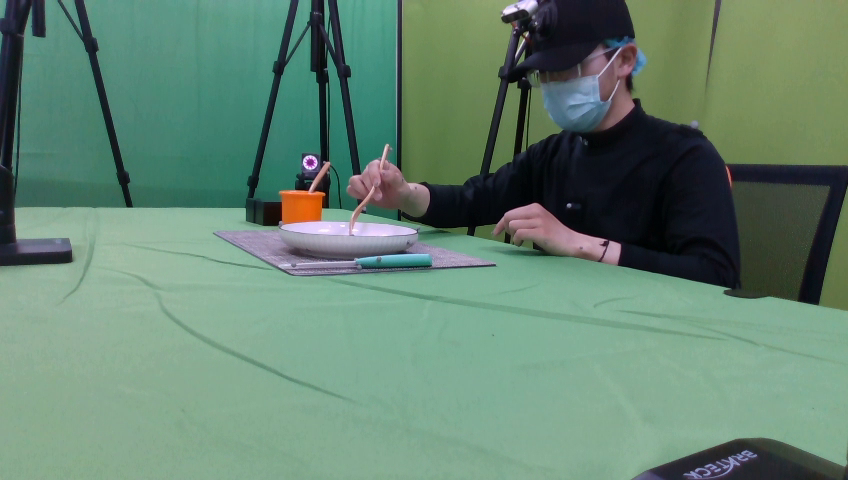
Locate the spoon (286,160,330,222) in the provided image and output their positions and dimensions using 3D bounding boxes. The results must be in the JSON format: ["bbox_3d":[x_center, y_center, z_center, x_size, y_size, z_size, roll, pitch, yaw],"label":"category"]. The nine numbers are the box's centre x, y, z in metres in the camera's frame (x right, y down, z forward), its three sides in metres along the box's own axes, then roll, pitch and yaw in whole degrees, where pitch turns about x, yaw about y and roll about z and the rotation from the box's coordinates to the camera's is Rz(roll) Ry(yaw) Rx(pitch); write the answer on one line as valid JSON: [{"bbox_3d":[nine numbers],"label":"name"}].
[{"bbox_3d":[-0.233,-0.101,1.252,0.041,0.193,0.022,3,-38,23],"label":"spoon"}]

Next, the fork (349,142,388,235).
[{"bbox_3d":[-0.090,-0.086,0.993,0.018,0.207,0.028,17,-32,6],"label":"fork"}]

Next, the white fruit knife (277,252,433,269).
[{"bbox_3d":[-0.082,0.029,0.772,0.208,0.016,0.027,-3,-20,-22],"label":"white fruit knife"}]

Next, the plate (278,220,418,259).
[{"bbox_3d":[-0.114,-0.002,0.914,0.209,0.038,0.209,2,7,0],"label":"plate"}]
